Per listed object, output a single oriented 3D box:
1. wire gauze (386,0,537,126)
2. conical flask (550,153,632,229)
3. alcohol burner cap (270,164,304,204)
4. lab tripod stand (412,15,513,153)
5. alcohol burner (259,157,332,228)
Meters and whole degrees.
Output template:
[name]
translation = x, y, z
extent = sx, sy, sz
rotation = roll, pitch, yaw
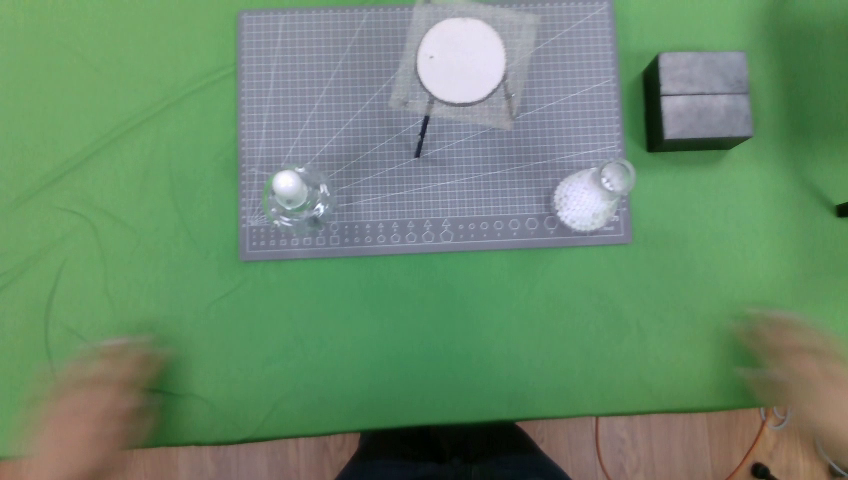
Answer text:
[wire gauze]
translation = 0.037, -0.178, 0.581
extent = 0.121, 0.011, 0.124
rotation = 15, 82, 0
[conical flask]
translation = 0.183, -0.057, 0.645
extent = 0.075, 0.122, 0.075
rotation = 0, 82, -2
[alcohol burner cap]
translation = -0.138, -0.058, 0.603
extent = 0.034, 0.048, 0.033
rotation = 1, 78, -5
[lab tripod stand]
translation = 0.030, -0.170, 0.648
extent = 0.148, 0.132, 0.148
rotation = 0, 83, 0
[alcohol burner]
translation = -0.138, -0.053, 0.638
extent = 0.078, 0.119, 0.077
rotation = 0, 84, -1
